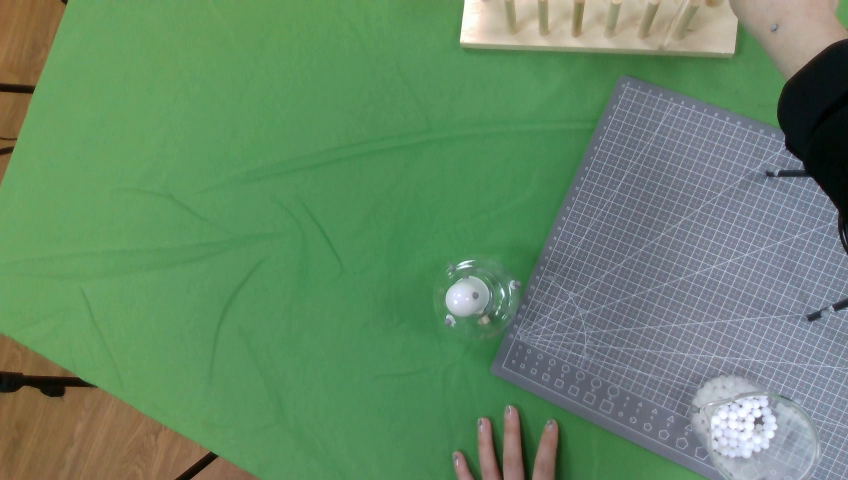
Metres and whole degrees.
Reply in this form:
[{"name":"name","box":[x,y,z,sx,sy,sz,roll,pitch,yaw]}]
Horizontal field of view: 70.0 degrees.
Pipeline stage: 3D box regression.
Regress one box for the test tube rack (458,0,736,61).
[{"name":"test tube rack","box":[0.145,-0.205,0.522,0.241,0.085,0.066,6,89,13]}]

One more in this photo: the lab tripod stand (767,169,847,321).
[{"name":"lab tripod stand","box":[0.328,-0.005,0.444,0.148,0.132,0.148,0,89,12]}]

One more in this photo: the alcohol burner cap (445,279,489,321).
[{"name":"alcohol burner cap","box":[0.033,0.049,0.488,0.034,0.048,0.034,0,91,14]}]

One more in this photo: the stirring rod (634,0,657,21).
[{"name":"stirring rod","box":[0.206,-0.233,0.444,0.006,0.177,0.014,2,61,-18]}]

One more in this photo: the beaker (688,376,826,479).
[{"name":"beaker","box":[0.250,0.147,0.475,0.083,0.100,0.074,30,94,14]}]

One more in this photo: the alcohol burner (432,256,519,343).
[{"name":"alcohol burner","box":[0.042,0.052,0.523,0.078,0.119,0.078,-1,86,12]}]
